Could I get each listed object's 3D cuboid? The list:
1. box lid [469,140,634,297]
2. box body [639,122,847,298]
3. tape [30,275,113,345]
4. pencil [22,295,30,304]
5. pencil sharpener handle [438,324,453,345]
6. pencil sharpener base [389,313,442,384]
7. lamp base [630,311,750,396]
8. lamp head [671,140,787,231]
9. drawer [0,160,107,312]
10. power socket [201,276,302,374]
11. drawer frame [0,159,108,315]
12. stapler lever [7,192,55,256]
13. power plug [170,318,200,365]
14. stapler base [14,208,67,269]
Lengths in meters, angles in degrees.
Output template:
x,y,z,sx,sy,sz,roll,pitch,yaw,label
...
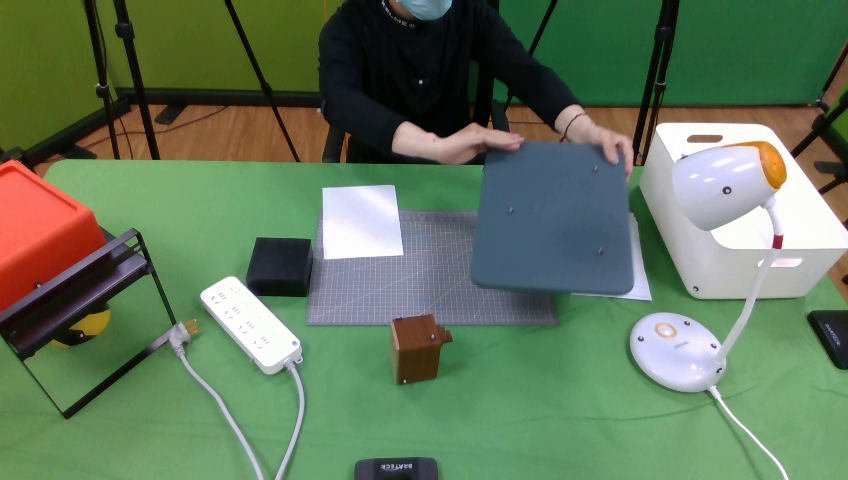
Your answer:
x,y,z,sx,sy,sz,roll,pitch,yaw,label
0.227,-0.055,1.073,0.263,0.015,0.369,4,48,9,box lid
0.609,-0.062,1.204,0.254,0.161,0.361,-1,46,-4,box body
-0.593,0.117,1.021,0.117,0.053,0.116,3,46,-2,tape
-0.590,0.010,0.883,0.012,0.012,0.193,-17,61,-20,pencil
0.036,0.155,0.976,0.031,0.068,0.036,-8,69,-11,pencil sharpener handle
-0.013,0.175,0.971,0.077,0.107,0.061,-8,47,-12,pencil sharpener base
0.447,0.143,0.983,0.161,0.181,0.178,-24,55,-24,lamp base
0.415,-0.078,0.811,0.113,0.123,0.112,13,70,-37,lamp head
-0.610,-0.001,0.866,0.194,0.073,0.211,29,52,21,drawer
-0.297,0.141,1.034,0.072,0.033,0.225,-34,58,-30,power socket
-0.611,0.000,0.863,0.201,0.083,0.213,27,51,20,drawer frame
-0.575,-0.026,0.885,0.027,0.040,0.117,-31,56,-25,stapler lever
-0.392,0.167,1.014,0.052,0.035,0.072,-30,91,-23,power plug
-0.577,-0.010,0.903,0.041,0.024,0.130,-30,57,-25,stapler base
